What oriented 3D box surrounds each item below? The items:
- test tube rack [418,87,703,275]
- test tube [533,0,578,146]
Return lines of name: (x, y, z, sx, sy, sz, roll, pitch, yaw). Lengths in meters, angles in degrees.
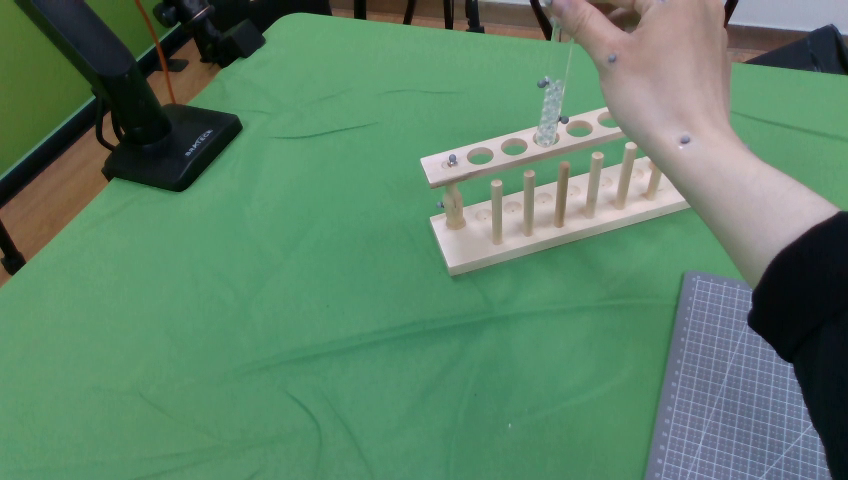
test tube rack: (0.123, -0.052, 0.531, 0.242, 0.086, 0.066, -16, 48, -5)
test tube: (0.092, -0.123, 0.426, 0.017, 0.152, 0.017, -1, 54, 2)
